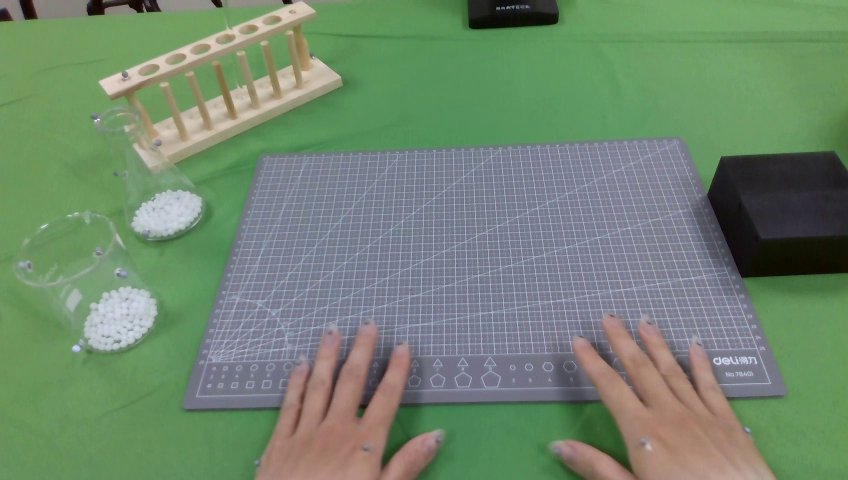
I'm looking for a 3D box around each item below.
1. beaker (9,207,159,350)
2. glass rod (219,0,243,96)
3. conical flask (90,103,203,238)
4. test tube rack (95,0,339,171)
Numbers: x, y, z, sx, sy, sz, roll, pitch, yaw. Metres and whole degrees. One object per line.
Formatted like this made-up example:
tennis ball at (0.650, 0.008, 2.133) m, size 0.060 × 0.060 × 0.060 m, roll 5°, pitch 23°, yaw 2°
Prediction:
beaker at (-0.265, 0.034, 0.487) m, size 0.074 × 0.101 × 0.083 m, roll -4°, pitch 48°, yaw 1°
glass rod at (-0.215, -0.247, 0.652) m, size 0.008 × 0.201 × 0.008 m, roll 1°, pitch 41°, yaw 0°
conical flask at (-0.260, -0.066, 0.560) m, size 0.075 × 0.123 × 0.074 m, roll -2°, pitch 48°, yaw 3°
test tube rack at (-0.221, -0.179, 0.681) m, size 0.242 × 0.086 × 0.066 m, roll -32°, pitch 53°, yaw -22°
